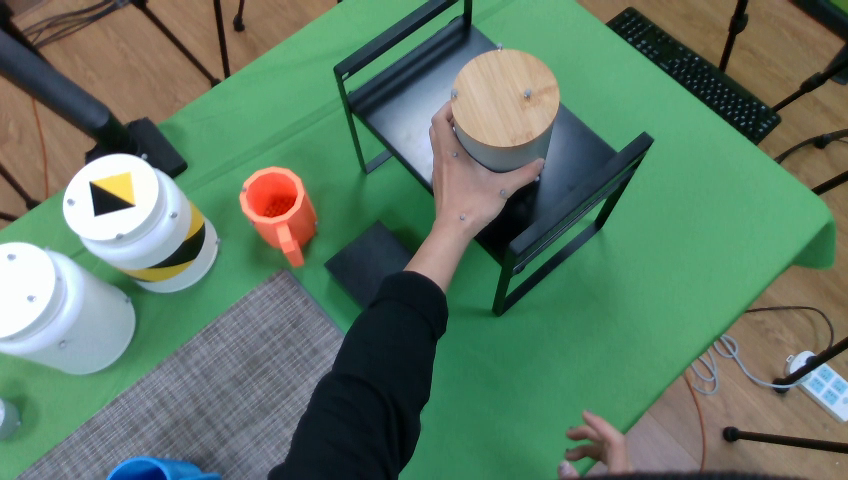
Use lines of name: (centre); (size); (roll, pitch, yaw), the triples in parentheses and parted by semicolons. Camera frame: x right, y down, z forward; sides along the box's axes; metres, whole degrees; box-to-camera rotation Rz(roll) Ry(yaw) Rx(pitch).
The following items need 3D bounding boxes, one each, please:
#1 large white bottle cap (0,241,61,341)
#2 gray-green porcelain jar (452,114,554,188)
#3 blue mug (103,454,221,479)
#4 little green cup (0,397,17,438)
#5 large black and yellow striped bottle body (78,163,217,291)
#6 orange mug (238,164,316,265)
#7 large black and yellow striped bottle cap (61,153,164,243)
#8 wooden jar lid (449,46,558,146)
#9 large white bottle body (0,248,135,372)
large white bottle cap: (-0.471, 0.056, 0.683); (0.115, 0.018, 0.114); (0, 69, 2)
gray-green porcelain jar: (0.086, -0.122, 0.668); (0.106, 0.127, 0.105); (-2, 72, 5)
blue mug: (-0.301, 0.294, 0.717); (0.116, 0.106, 0.081); (-15, 69, -5)
little green cup: (-0.566, 0.231, 0.786); (0.061, 0.039, 0.061); (0, 69, 1)
large black and yellow striped bottle body: (-0.368, -0.019, 0.802); (0.131, 0.185, 0.130); (0, 68, 2)
orange mug: (-0.200, -0.031, 0.850); (0.083, 0.101, 0.125); (-18, 65, -5)
large black and yellow striped bottle cap: (-0.372, -0.052, 0.724); (0.115, 0.019, 0.114); (0, 68, 0)
wooden jar lid: (0.079, -0.142, 0.609); (0.108, 0.021, 0.108); (-1, 74, 5)
large white bottle body: (-0.468, 0.087, 0.762); (0.130, 0.186, 0.129); (0, 68, 1)
